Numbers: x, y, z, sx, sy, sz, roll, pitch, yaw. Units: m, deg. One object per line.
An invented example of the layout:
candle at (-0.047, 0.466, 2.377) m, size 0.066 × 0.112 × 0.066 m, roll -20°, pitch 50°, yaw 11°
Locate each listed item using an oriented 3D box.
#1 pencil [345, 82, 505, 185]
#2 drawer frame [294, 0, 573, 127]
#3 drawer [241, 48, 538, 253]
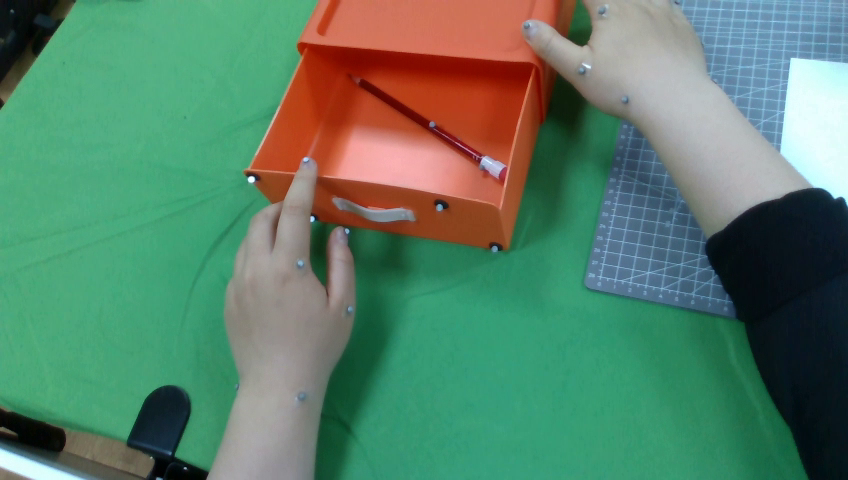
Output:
pencil at (-0.004, -0.094, 0.506) m, size 0.192 × 0.012 × 0.012 m, roll 36°, pitch 76°, yaw 29°
drawer frame at (0.022, -0.209, 0.526) m, size 0.201 × 0.083 × 0.212 m, roll 9°, pitch 65°, yaw 18°
drawer at (-0.010, -0.105, 0.483) m, size 0.193 × 0.074 × 0.210 m, roll 8°, pitch 64°, yaw 19°
